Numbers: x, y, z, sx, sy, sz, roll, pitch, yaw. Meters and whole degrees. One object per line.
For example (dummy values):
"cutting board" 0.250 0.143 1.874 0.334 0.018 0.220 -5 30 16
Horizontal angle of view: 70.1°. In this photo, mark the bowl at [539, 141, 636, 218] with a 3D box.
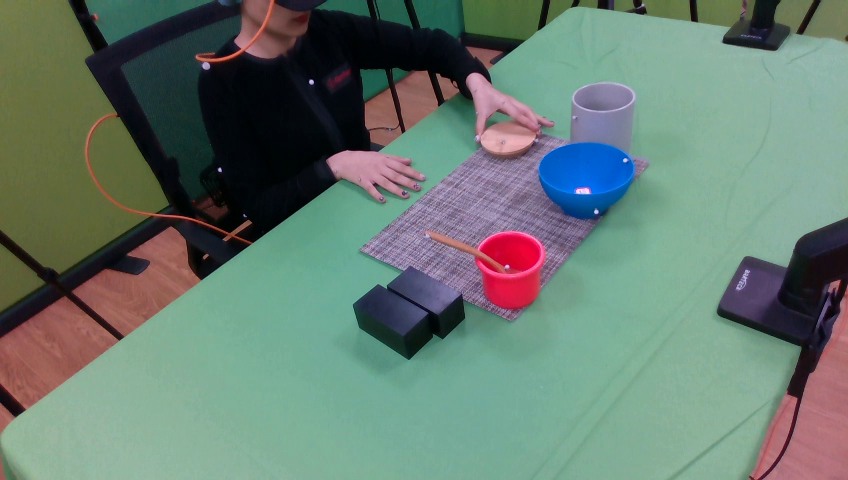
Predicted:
"bowl" 0.264 -0.089 0.989 0.151 0.077 0.150 -5 40 5

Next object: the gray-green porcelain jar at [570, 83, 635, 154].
"gray-green porcelain jar" 0.313 -0.197 1.069 0.106 0.127 0.105 -5 40 5

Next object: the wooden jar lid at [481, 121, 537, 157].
"wooden jar lid" 0.165 -0.196 1.175 0.108 0.021 0.108 -6 41 6

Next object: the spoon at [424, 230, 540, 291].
"spoon" 0.083 0.026 0.836 0.195 0.021 0.041 29 31 -24
